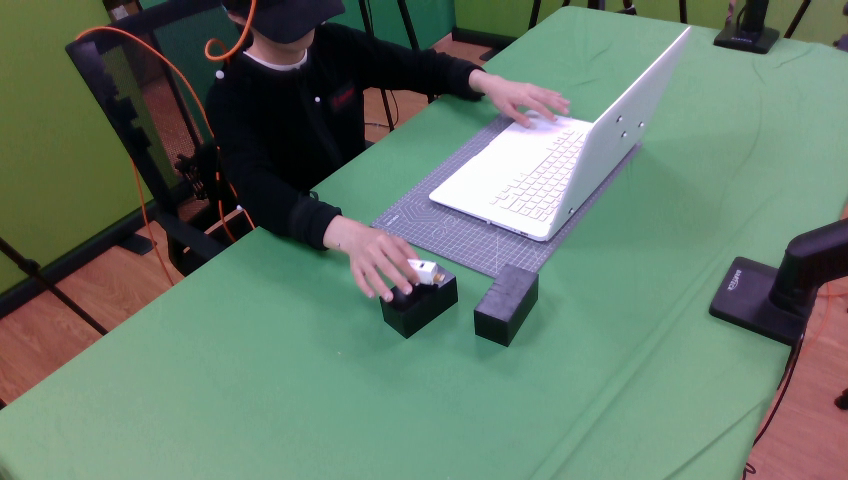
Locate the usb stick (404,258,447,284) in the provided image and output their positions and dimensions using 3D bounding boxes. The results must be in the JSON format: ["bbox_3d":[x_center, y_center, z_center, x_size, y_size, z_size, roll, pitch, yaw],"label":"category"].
[{"bbox_3d":[0.003,0.044,0.832,0.059,0.027,0.021,11,35,17],"label":"usb stick"}]

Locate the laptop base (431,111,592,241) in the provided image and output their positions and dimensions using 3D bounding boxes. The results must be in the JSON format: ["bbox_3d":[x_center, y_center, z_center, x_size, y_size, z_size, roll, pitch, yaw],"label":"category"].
[{"bbox_3d":[0.206,-0.130,1.100,0.233,0.023,0.355,20,48,34],"label":"laptop base"}]

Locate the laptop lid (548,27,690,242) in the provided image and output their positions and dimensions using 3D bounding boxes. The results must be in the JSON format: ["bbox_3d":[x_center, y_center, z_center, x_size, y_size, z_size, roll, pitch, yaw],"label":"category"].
[{"bbox_3d":[0.309,-0.168,0.949,0.013,0.242,0.358,33,52,20],"label":"laptop lid"}]
